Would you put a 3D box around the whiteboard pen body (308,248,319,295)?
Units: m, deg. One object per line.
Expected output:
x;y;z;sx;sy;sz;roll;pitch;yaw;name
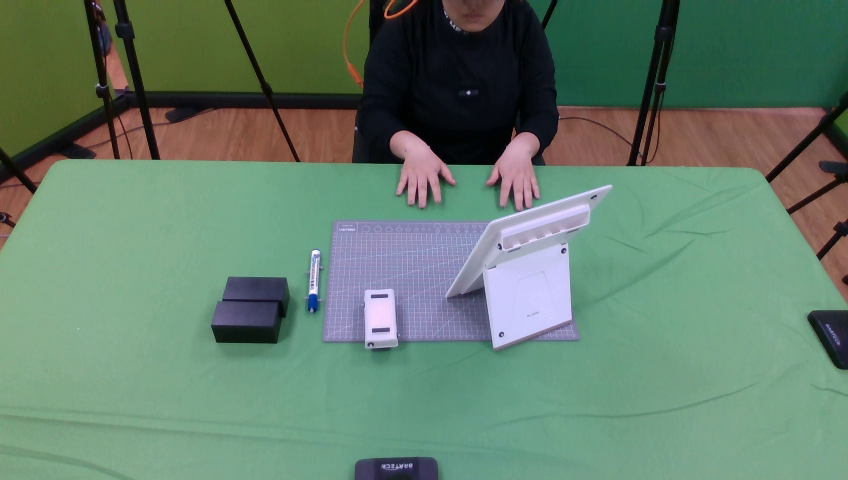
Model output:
-0.204;0.069;1.119;0.017;0.017;0.140;-1;47;-5;whiteboard pen body

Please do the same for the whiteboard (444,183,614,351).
0.186;0.065;0.989;0.217;0.306;0.143;-16;68;-19;whiteboard

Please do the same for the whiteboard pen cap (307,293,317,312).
-0.199;0.110;1.078;0.018;0.018;0.033;-2;47;-6;whiteboard pen cap

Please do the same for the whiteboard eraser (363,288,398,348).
-0.076;0.136;1.042;0.056;0.042;0.112;-1;46;-7;whiteboard eraser
